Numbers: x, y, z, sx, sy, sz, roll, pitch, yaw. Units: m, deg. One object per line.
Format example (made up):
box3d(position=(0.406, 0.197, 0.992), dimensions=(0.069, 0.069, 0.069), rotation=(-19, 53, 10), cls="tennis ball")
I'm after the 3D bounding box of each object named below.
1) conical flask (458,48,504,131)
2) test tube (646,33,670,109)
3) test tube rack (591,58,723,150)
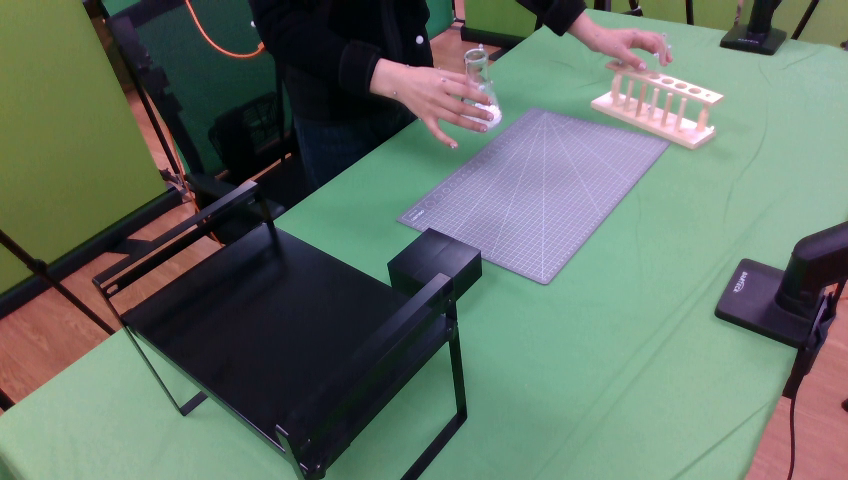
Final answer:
box3d(position=(0.086, -0.239, 0.952), dimensions=(0.075, 0.122, 0.075), rotation=(-5, 48, 6), cls="conical flask")
box3d(position=(0.445, -0.319, 1.154), dimensions=(0.017, 0.151, 0.017), rotation=(-1, 41, 2), cls="test tube")
box3d(position=(0.442, -0.268, 1.171), dimensions=(0.067, 0.085, 0.240), rotation=(-31, 46, -23), cls="test tube rack")
